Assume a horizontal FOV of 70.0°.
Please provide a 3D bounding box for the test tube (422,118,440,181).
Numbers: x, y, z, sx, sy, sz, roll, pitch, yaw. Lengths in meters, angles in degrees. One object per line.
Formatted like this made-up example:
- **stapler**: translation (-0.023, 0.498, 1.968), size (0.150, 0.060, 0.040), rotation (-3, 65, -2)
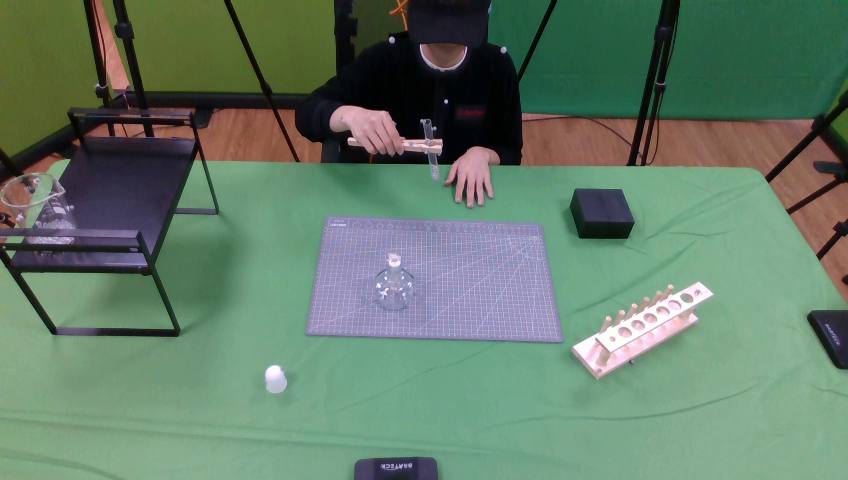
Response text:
- **test tube**: translation (0.014, -0.162, 1.112), size (0.017, 0.151, 0.017), rotation (-5, 52, 6)

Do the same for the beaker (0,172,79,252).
- **beaker**: translation (-0.557, -0.038, 0.889), size (0.084, 0.101, 0.073), rotation (-3, 47, -8)

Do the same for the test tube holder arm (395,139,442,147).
- **test tube holder arm**: translation (-0.010, -0.176, 1.107), size (0.088, 0.015, 0.010), rotation (-1, 50, 6)

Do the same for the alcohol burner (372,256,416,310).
- **alcohol burner**: translation (-0.052, 0.068, 1.057), size (0.078, 0.120, 0.077), rotation (1, 48, -1)

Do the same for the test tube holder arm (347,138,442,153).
- **test tube holder arm**: translation (-0.055, -0.174, 1.111), size (0.178, 0.015, 0.013), rotation (5, 51, 11)

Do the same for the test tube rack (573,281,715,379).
- **test tube rack**: translation (0.378, 0.140, 1.038), size (0.242, 0.085, 0.066), rotation (-22, 51, -23)

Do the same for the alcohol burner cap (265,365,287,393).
- **alcohol burner cap**: translation (-0.236, 0.216, 0.956), size (0.034, 0.048, 0.033), rotation (3, 46, -3)
